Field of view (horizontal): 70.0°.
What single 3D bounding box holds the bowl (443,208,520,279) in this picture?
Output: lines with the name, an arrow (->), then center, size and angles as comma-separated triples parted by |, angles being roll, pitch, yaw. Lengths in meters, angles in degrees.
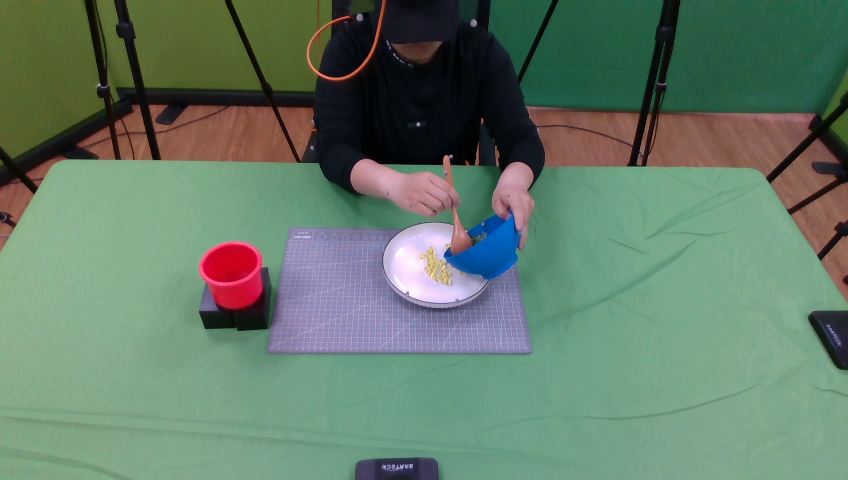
bowl -> 0.117, 0.017, 1.078 | 0.151, 0.151, 0.077 | -41, 101, -34

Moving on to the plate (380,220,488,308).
plate -> 0.022, 0.048, 1.138 | 0.208, 0.039, 0.206 | 2, 46, -2

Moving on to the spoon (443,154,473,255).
spoon -> 0.055, -0.058, 1.089 | 0.041, 0.194, 0.021 | -12, 5, -6
